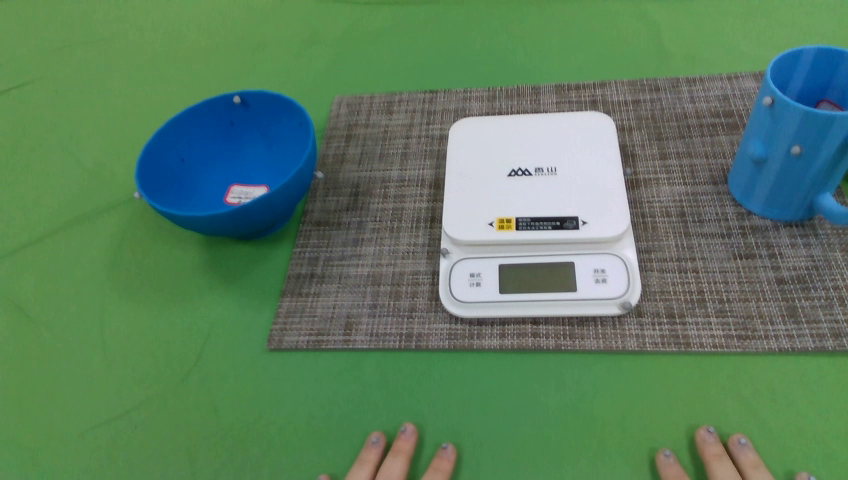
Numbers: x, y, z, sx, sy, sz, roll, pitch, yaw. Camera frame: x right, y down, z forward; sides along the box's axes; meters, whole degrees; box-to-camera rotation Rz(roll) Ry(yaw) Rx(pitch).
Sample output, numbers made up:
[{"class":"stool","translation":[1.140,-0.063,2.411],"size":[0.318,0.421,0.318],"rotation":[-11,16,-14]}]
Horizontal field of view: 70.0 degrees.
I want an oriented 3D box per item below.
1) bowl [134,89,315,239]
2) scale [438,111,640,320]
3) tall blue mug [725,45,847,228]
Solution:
[{"class":"bowl","translation":[-0.161,-0.053,0.530],"size":[0.151,0.077,0.150],"rotation":[-4,52,6]},{"class":"scale","translation":[0.089,-0.028,0.495],"size":[0.148,0.032,0.199],"rotation":[-2,52,8]},{"class":"tall blue mug","translation":[0.290,-0.069,0.444],"size":[0.106,0.109,0.077],"rotation":[33,63,30]}]
